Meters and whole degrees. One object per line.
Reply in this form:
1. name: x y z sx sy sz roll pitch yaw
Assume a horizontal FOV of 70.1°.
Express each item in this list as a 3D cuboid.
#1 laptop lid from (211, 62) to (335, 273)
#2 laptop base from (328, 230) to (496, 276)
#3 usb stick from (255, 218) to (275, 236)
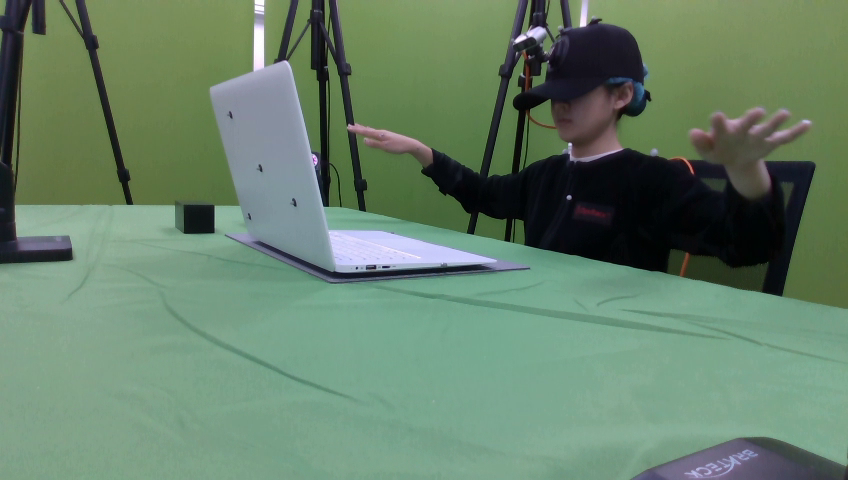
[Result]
1. laptop lid: -0.211 -0.095 0.791 0.013 0.241 0.355 -18 18 -29
2. laptop base: -0.091 0.016 0.884 0.237 0.023 0.352 2 6 -32
3. usb stick: -0.262 -0.021 1.003 0.021 0.027 0.059 0 10 -32
